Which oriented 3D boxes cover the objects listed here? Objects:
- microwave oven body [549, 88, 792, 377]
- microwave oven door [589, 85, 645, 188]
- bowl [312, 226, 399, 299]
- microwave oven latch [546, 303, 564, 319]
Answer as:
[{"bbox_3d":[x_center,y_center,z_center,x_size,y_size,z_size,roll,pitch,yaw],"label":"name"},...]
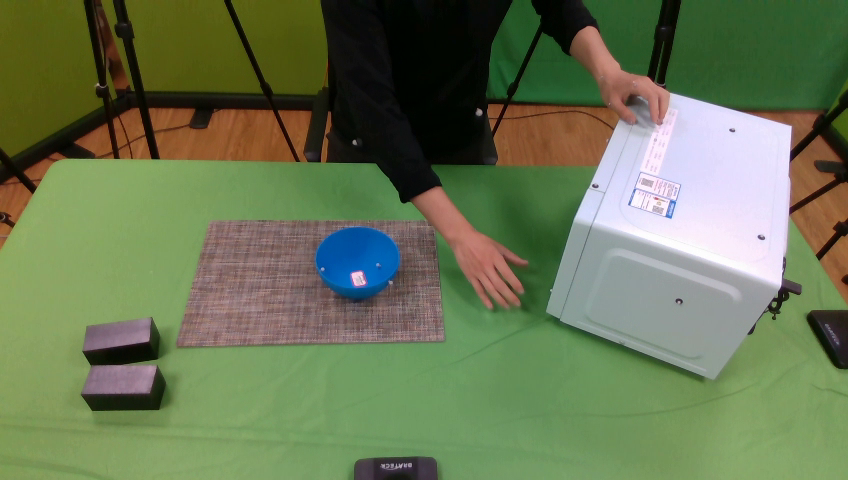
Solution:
[{"bbox_3d":[0.456,-0.028,1.088,0.325,0.261,0.440,20,47,16],"label":"microwave oven body"},{"bbox_3d":[0.342,-0.107,1.149,0.039,0.245,0.354,21,48,15],"label":"microwave oven door"},{"bbox_3d":[-0.120,0.054,1.091,0.151,0.077,0.150,2,46,-2],"label":"bowl"},{"bbox_3d":[0.242,0.102,1.081,0.030,0.029,0.079,22,48,17],"label":"microwave oven latch"}]
